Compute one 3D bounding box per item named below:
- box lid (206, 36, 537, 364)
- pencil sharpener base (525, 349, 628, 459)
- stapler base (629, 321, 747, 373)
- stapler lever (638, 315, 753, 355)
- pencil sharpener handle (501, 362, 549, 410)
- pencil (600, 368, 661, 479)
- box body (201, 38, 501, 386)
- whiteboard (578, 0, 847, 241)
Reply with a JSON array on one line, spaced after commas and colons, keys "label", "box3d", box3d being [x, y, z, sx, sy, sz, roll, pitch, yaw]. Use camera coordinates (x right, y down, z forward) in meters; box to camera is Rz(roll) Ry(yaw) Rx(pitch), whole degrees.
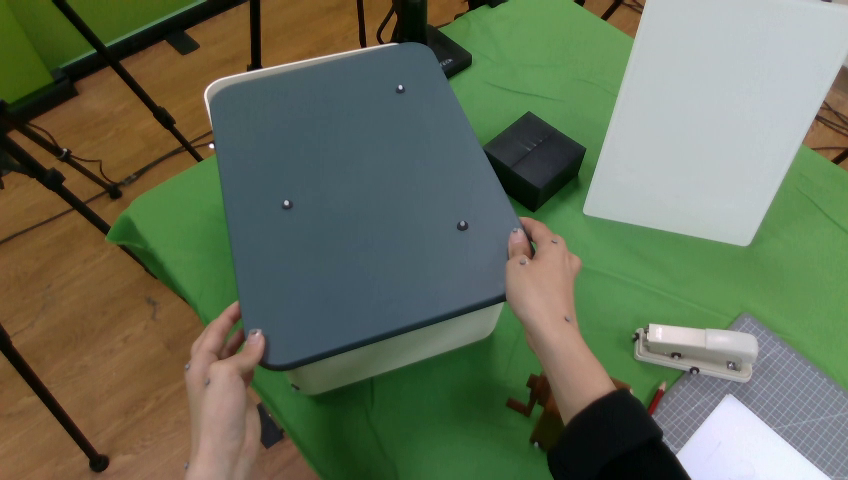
[{"label": "box lid", "box3d": [-0.071, -0.071, 0.607, 0.263, 0.015, 0.367, -16, 56, -8]}, {"label": "pencil sharpener base", "box3d": [0.148, 0.166, 0.609, 0.076, 0.108, 0.061, 22, 59, 14]}, {"label": "stapler base", "box3d": [0.304, 0.118, 0.693, 0.130, 0.024, 0.041, 10, 53, 9]}, {"label": "stapler lever", "box3d": [0.302, 0.104, 0.673, 0.118, 0.040, 0.026, 10, 53, 9]}, {"label": "pencil sharpener handle", "box3d": [0.100, 0.143, 0.607, 0.030, 0.068, 0.036, 23, 38, 14]}, {"label": "pencil", "box3d": [0.211, 0.210, 0.638, 0.012, 0.012, 0.193, 31, 61, 18]}, {"label": "box body", "box3d": [-0.084, -0.040, 0.704, 0.254, 0.162, 0.360, -17, 59, -12]}, {"label": "whiteboard", "box3d": [0.341, -0.179, 0.760, 0.217, 0.308, 0.143, 13, 38, 7]}]
